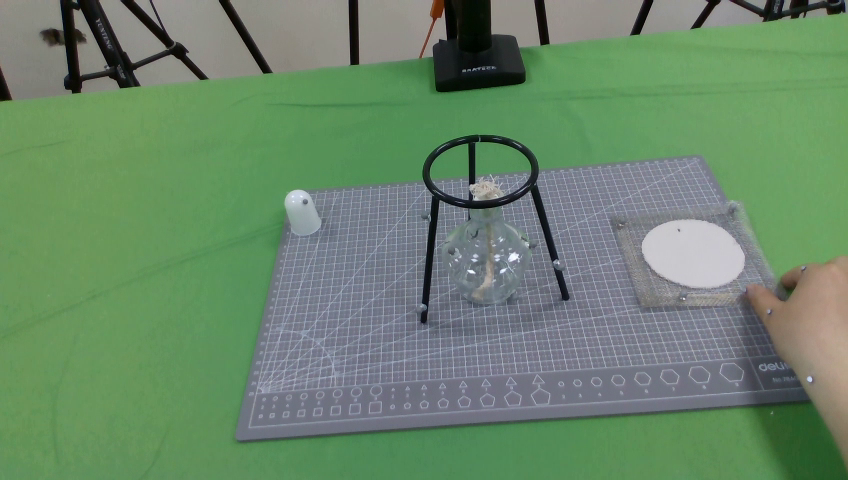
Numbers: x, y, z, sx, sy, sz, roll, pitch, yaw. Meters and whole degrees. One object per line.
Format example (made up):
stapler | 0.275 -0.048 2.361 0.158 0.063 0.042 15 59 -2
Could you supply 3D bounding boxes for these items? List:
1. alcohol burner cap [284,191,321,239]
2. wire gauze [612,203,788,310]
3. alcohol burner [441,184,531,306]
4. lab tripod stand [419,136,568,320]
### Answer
alcohol burner cap | -0.126 -0.029 0.619 0.034 0.048 0.033 -3 45 4
wire gauze | 0.244 0.014 0.549 0.125 0.011 0.120 -3 47 5
alcohol burner | 0.052 0.000 0.513 0.078 0.120 0.077 -2 44 3
lab tripod stand | 0.052 -0.009 0.508 0.148 0.133 0.147 -3 43 3
